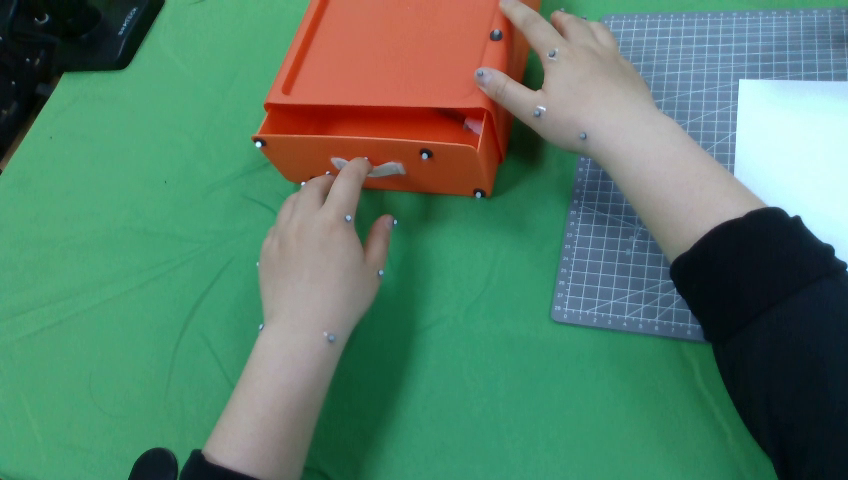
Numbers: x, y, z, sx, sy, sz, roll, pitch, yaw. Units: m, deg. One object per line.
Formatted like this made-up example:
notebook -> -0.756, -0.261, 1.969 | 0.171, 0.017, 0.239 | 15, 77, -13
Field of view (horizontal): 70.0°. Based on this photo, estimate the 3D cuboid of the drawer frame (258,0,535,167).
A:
drawer frame -> -0.016, -0.175, 0.545 | 0.201, 0.083, 0.212 | 5, 63, 20

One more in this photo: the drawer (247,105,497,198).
drawer -> -0.023, -0.145, 0.532 | 0.193, 0.074, 0.210 | 5, 63, 21

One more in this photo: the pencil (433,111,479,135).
pencil -> -0.015, -0.134, 0.555 | 0.192, 0.012, 0.012 | 34, 76, 33
